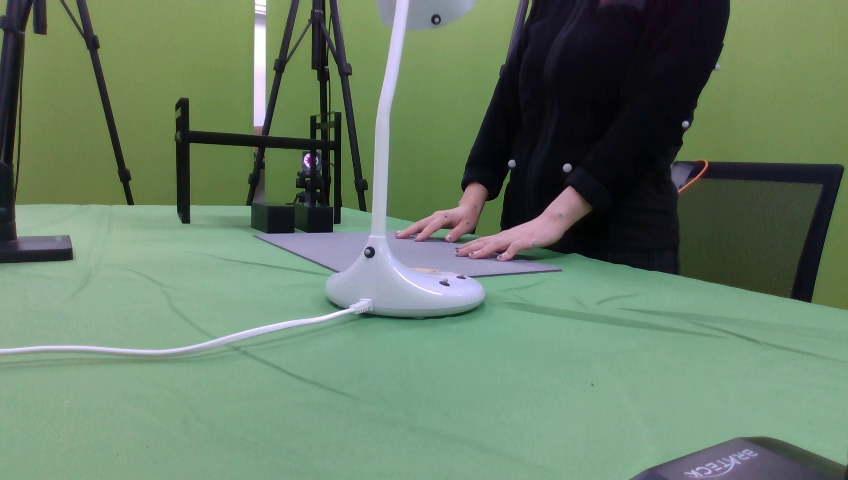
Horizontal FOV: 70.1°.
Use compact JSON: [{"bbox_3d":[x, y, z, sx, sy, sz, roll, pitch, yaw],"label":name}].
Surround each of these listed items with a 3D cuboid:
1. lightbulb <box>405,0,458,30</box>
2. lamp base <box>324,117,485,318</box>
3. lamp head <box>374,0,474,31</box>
[{"bbox_3d":[0.001,-0.283,0.659,0.059,0.108,0.059,-13,40,11],"label":"lightbulb"},{"bbox_3d":[-0.020,-0.025,0.583,0.160,0.180,0.179,4,10,17],"label":"lamp base"},{"bbox_3d":[-0.009,-0.298,0.640,0.112,0.123,0.112,-7,49,8],"label":"lamp head"}]
